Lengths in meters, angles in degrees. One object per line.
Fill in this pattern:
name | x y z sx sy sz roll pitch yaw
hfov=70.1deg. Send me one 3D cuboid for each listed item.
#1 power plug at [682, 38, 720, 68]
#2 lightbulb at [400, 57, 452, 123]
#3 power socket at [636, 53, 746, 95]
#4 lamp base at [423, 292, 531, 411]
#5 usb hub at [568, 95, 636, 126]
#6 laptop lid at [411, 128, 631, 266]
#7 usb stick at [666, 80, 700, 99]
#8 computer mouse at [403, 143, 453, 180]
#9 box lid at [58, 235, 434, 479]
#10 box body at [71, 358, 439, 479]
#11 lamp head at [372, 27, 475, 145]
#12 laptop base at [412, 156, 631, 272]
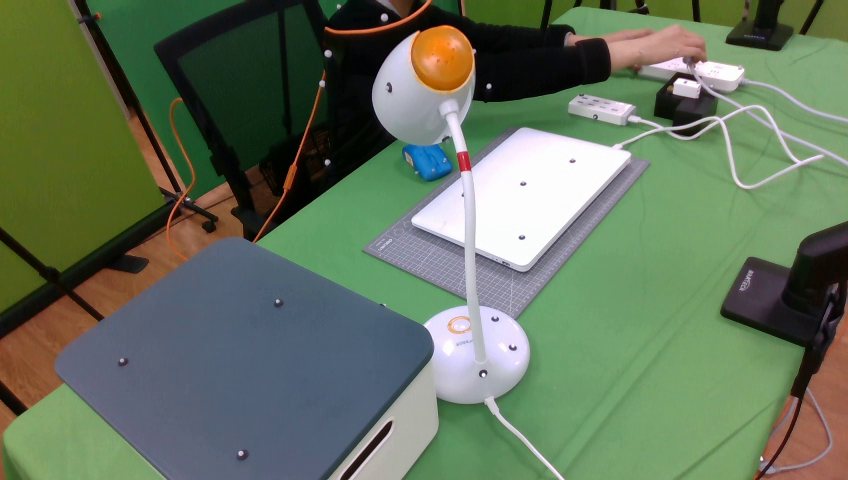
power plug | 0.571 -0.381 1.247 0.072 0.053 0.035 -7 63 13
lightbulb | 0.004 -0.169 0.669 0.059 0.108 0.059 1 79 -3
power socket | 0.565 -0.357 1.293 0.225 0.033 0.072 24 52 33
lamp base | 0.055 0.095 0.740 0.161 0.181 0.177 -19 43 -11
usb hub | 0.361 -0.264 1.228 0.124 0.025 0.049 24 49 34
laptop lid | 0.173 -0.093 1.049 0.239 0.013 0.358 24 50 36
usb stick | 0.492 -0.288 1.152 0.058 0.027 0.021 20 50 34
computer mouse | 0.006 -0.159 1.166 0.063 0.041 0.116 -21 45 -16
box lid | -0.198 0.123 0.653 0.368 0.015 0.264 22 49 32
box body | -0.189 0.178 0.702 0.361 0.161 0.255 22 49 32
lamp head | 0.007 -0.167 0.644 0.113 0.112 0.122 -22 2 -14
laptop base | 0.176 -0.084 1.055 0.233 0.023 0.355 21 48 36
